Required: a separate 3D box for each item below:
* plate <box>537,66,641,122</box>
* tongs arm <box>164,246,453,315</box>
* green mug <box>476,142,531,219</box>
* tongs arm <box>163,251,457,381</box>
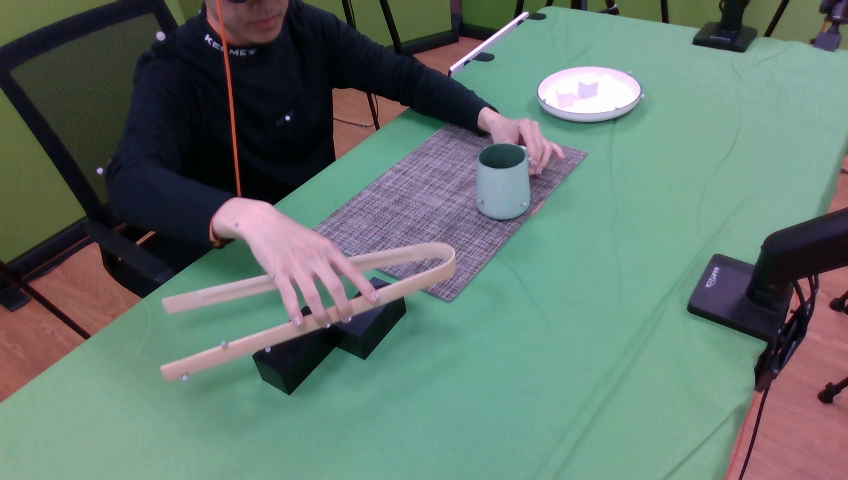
[{"bbox_3d":[0.338,-0.299,1.255,0.209,0.038,0.208,-4,41,4],"label":"plate"},{"bbox_3d":[-0.150,0.054,0.821,0.388,0.028,0.028,-11,28,-7],"label":"tongs arm"},{"bbox_3d":[0.140,-0.106,1.002,0.092,0.105,0.125,21,49,30],"label":"green mug"},{"bbox_3d":[-0.127,0.090,0.763,0.386,0.026,0.050,-17,33,-16],"label":"tongs arm"}]
